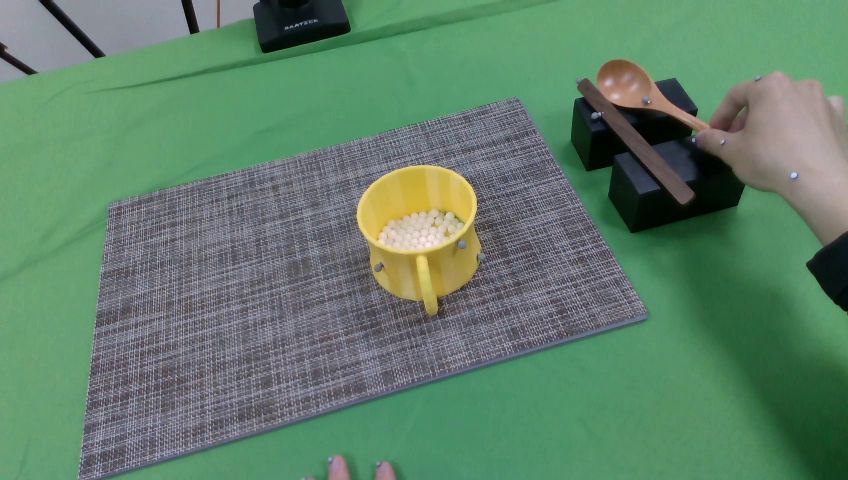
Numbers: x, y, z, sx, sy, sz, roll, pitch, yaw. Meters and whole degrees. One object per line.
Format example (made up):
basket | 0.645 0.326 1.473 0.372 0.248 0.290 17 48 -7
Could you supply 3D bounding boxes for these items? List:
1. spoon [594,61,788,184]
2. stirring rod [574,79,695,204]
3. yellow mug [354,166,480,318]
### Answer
spoon | 0.226 -0.103 0.528 0.041 0.022 0.191 -49 56 7
stirring rod | 0.179 -0.092 0.532 0.014 0.006 0.174 -48 46 24
yellow mug | -0.002 0.005 0.507 0.100 0.064 0.129 -9 51 1
